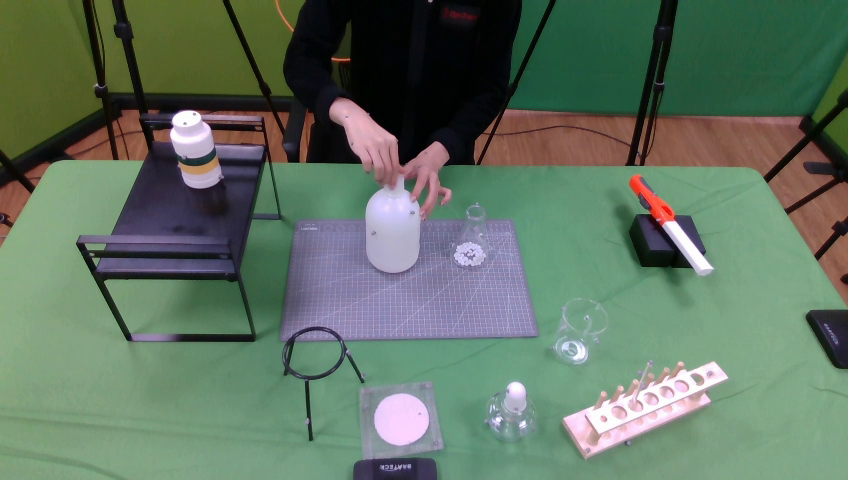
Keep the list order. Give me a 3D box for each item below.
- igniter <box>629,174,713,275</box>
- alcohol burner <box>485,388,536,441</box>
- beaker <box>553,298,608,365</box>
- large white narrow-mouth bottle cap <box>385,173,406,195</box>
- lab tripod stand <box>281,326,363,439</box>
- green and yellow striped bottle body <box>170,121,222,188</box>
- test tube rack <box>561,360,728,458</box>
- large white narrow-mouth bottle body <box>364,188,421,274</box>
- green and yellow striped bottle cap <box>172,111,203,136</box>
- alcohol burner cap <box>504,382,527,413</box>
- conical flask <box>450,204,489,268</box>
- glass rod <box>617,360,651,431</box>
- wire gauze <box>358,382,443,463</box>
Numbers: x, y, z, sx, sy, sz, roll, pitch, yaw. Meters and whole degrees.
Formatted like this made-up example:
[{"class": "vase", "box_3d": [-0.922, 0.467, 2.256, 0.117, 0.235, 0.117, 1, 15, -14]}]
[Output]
[{"class": "igniter", "box_3d": [0.481, -0.040, 1.202, 0.057, 0.025, 0.274, -2, 46, -21]}, {"class": "alcohol burner", "box_3d": [0.131, 0.249, 0.904, 0.078, 0.120, 0.077, 1, 48, -1]}, {"class": "beaker", "box_3d": [0.260, 0.154, 1.015, 0.073, 0.101, 0.084, 37, 54, 27]}, {"class": "large white narrow-mouth bottle cap", "box_3d": [-0.048, -0.096, 1.038, 0.038, 0.024, 0.037, 4, 46, -4]}, {"class": "lab tripod stand", "box_3d": [-0.166, 0.202, 0.913, 0.148, 0.132, 0.147, 1, 47, -1]}, {"class": "green and yellow striped bottle body", "box_3d": [-0.375, -0.149, 0.995, 0.063, 0.120, 0.063, 2, 46, -2]}, {"class": "test tube rack", "box_3d": [0.341, 0.248, 0.940, 0.243, 0.085, 0.066, -16, 49, -18]}, {"class": "large white narrow-mouth bottle body", "box_3d": [-0.058, -0.034, 1.104, 0.102, 0.195, 0.101, 4, 46, -4]}, {"class": "green and yellow striped bottle cap", "box_3d": [-0.374, -0.185, 0.957, 0.045, 0.020, 0.045, 3, 45, -3]}, {"class": "alcohol burner cap", "box_3d": [0.133, 0.225, 0.877, 0.034, 0.048, 0.033, -4, 47, 4]}, {"class": "conical flask", "box_3d": [0.091, -0.010, 1.141, 0.075, 0.122, 0.075, 2, 46, -2]}, {"class": "glass rod", "box_3d": [0.297, 0.227, 0.865, 0.008, 0.201, 0.008, -1, 47, 2]}, {"class": "wire gauze", "box_3d": [-0.039, 0.277, 0.937, 0.121, 0.011, 0.124, -4, 47, -7]}]
